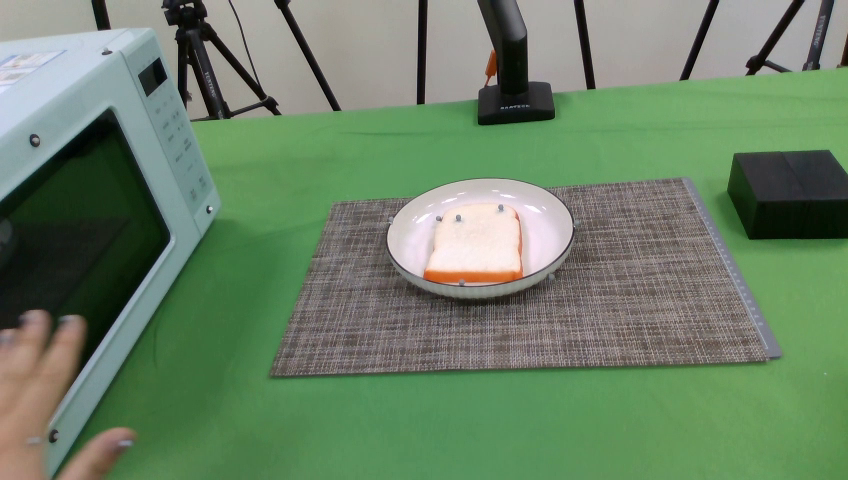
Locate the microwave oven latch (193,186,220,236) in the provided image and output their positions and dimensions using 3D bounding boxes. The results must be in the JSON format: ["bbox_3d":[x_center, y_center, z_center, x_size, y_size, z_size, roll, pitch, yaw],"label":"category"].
[{"bbox_3d":[-0.289,-0.037,0.780,0.030,0.030,0.078,-2,37,8],"label":"microwave oven latch"}]

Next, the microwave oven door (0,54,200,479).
[{"bbox_3d":[-0.323,0.012,0.546,0.039,0.246,0.352,-3,36,8],"label":"microwave oven door"}]

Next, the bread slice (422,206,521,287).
[{"bbox_3d":[0.056,0.004,0.679,0.105,0.019,0.130,-1,38,10],"label":"bread slice"}]

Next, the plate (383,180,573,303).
[{"bbox_3d":[0.059,0.002,0.677,0.209,0.038,0.207,-6,36,5],"label":"plate"}]

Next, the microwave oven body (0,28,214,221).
[{"bbox_3d":[-0.464,-0.001,0.602,0.325,0.262,0.437,-2,37,8],"label":"microwave oven body"}]
